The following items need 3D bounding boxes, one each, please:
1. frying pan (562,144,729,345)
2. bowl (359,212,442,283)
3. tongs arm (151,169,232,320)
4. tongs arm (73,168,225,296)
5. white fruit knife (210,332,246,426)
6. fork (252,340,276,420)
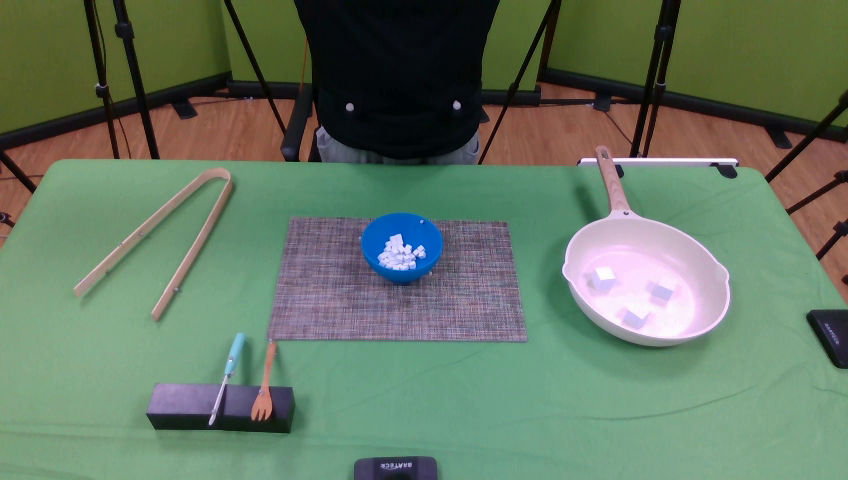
[{"bbox_3d":[0.396,-0.008,1.179,0.307,0.103,0.484,1,55,-4],"label":"frying pan"},{"bbox_3d":[-0.044,0.026,1.125,0.151,0.077,0.150,2,46,-2],"label":"bowl"},{"bbox_3d":[-0.437,-0.005,1.163,0.028,0.028,0.385,5,45,5],"label":"tongs arm"},{"bbox_3d":[-0.515,-0.026,1.172,0.050,0.026,0.383,17,46,12],"label":"tongs arm"},{"bbox_3d":[-0.301,0.206,0.930,0.016,0.027,0.206,5,29,-7],"label":"white fruit knife"},{"bbox_3d":[-0.242,0.211,0.932,0.028,0.019,0.206,-5,27,-7],"label":"fork"}]
